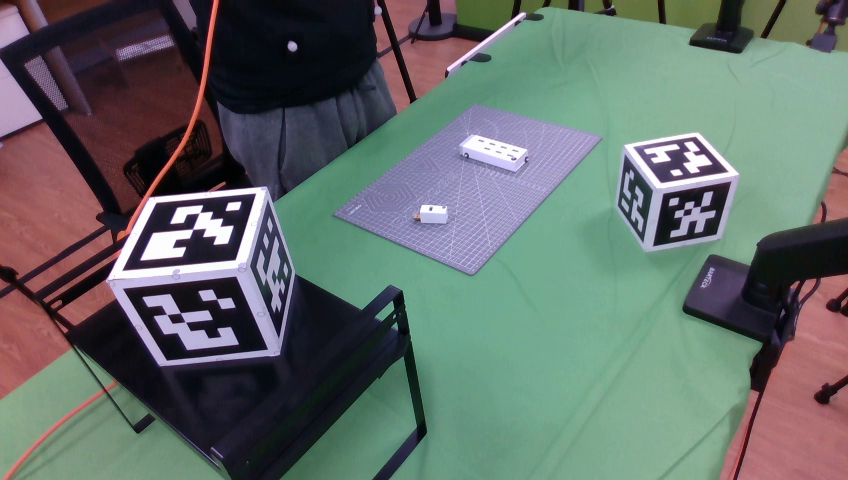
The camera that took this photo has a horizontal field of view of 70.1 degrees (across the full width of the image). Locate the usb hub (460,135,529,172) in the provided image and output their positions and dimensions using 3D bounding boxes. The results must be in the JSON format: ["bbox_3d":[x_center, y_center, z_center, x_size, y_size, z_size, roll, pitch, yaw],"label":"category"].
[{"bbox_3d":[0.132,-0.164,1.137,0.124,0.025,0.049,22,49,30],"label":"usb hub"}]

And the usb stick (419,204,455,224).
[{"bbox_3d":[0.024,-0.042,1.005,0.059,0.027,0.021,10,70,17],"label":"usb stick"}]
